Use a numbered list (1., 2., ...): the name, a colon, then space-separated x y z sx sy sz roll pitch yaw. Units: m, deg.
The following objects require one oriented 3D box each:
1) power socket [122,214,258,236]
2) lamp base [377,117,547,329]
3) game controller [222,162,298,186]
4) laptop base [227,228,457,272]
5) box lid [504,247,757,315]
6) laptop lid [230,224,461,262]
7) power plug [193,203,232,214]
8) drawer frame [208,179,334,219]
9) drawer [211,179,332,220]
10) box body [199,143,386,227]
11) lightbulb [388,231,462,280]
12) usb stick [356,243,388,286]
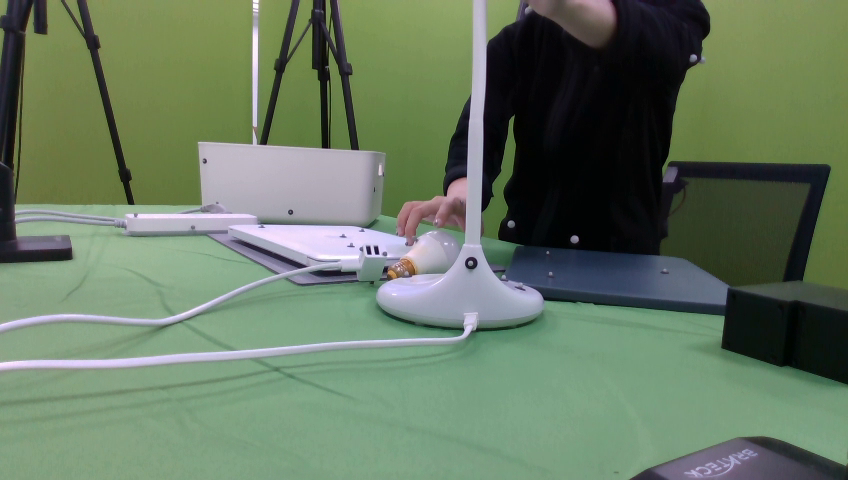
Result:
1. power socket: -0.398 -0.028 1.049 0.228 0.032 0.072 -3 8 -34
2. lamp base: 0.041 -0.019 0.552 0.161 0.180 0.179 1 10 -10
3. game controller: -0.357 -0.143 1.322 0.156 0.051 0.097 1 2 -16
4. laptop base: -0.122 0.012 0.889 0.237 0.023 0.352 1 6 -35
5. box lid: 0.244 0.044 0.793 0.263 0.015 0.372 4 7 11
6. laptop lid: -0.119 0.000 0.889 0.243 0.013 0.355 1 7 -33
7. power plug: -0.394 -0.042 1.139 0.072 0.052 0.035 -13 2 31
8. drawer frame: -0.326 -0.093 1.328 0.213 0.082 0.202 -1 5 6
9. drawer: -0.328 -0.095 1.332 0.212 0.073 0.194 5 8 6
10. box body: -0.276 -0.124 1.335 0.364 0.160 0.254 3 7 1
11. lightbulb: -0.001 0.026 0.703 0.059 0.059 0.108 10 26 43
12. usb stick: -0.058 0.029 0.658 0.027 0.059 0.021 -5 52 -18
